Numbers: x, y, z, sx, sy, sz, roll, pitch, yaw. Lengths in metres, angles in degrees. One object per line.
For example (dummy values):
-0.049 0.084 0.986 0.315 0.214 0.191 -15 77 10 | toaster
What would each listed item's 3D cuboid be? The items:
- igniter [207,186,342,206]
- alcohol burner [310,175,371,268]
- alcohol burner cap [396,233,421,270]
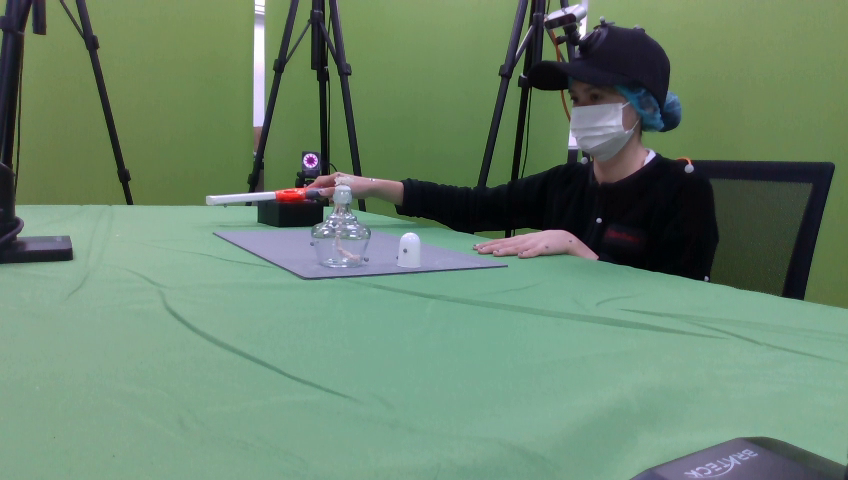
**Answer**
-0.300 -0.091 1.241 0.278 0.025 0.057 -8 11 -34 | igniter
-0.107 -0.024 0.778 0.078 0.119 0.078 3 5 0 | alcohol burner
-0.020 0.014 0.795 0.034 0.048 0.034 2 6 0 | alcohol burner cap
